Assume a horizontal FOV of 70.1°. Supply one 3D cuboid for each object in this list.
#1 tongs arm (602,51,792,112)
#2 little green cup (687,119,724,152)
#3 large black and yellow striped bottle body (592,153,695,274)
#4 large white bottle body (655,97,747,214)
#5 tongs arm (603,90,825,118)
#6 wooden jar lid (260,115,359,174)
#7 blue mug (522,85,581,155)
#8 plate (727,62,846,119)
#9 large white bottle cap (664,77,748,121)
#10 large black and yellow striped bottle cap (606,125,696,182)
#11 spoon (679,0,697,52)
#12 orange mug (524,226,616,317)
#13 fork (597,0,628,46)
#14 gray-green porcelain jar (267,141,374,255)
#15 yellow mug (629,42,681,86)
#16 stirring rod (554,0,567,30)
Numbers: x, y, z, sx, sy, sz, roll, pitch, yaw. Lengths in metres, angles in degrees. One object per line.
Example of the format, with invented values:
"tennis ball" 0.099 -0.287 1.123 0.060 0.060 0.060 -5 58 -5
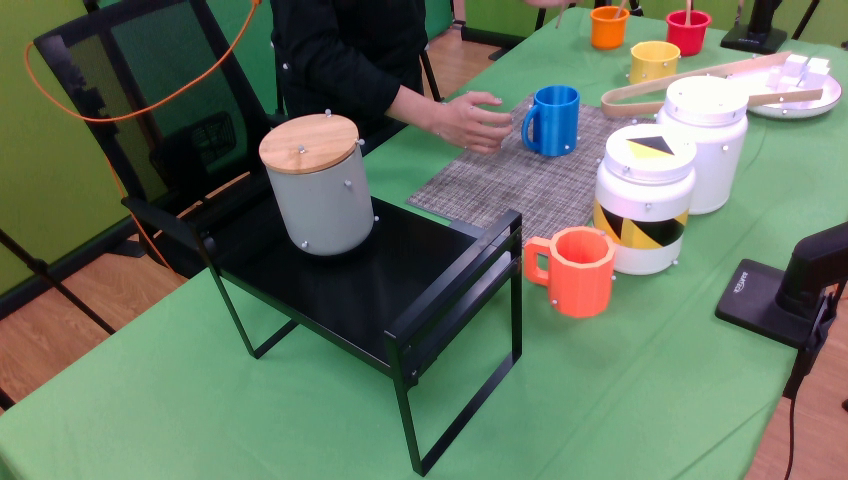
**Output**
"tongs arm" 0.552 -0.320 1.224 0.384 0.027 0.050 -10 44 7
"little green cup" 0.514 -0.191 1.109 0.061 0.039 0.061 -5 40 5
"large black and yellow striped bottle body" 0.313 -0.056 0.872 0.131 0.185 0.130 -4 41 4
"large white bottle body" 0.431 -0.148 0.959 0.130 0.185 0.130 -4 41 4
"tongs arm" 0.546 -0.262 1.163 0.386 0.028 0.028 -1 49 18
"wooden jar lid" -0.124 -0.101 0.662 0.108 0.021 0.108 -4 41 4
"blue mug" 0.233 -0.218 1.127 0.117 0.106 0.081 -23 43 -16
"plate" 0.709 -0.292 1.197 0.207 0.039 0.206 -4 40 4
"large white bottle cap" 0.421 -0.212 0.905 0.115 0.018 0.114 -4 40 4
"large black and yellow striped bottle cap" 0.305 -0.119 0.816 0.115 0.019 0.114 -5 41 5
"spoon" 0.614 -0.526 1.402 0.041 0.022 0.193 3 86 11
"orange mug" 0.201 0.039 0.845 0.125 0.101 0.083 18 46 21
"fork" 0.479 -0.559 1.455 0.028 0.019 0.207 34 99 36
"gray-green porcelain jar" -0.117 -0.054 0.703 0.106 0.127 0.105 -4 40 4
"yellow mug" 0.495 -0.389 1.322 0.100 0.064 0.130 -14 40 -6
"stirring rod" 0.258 -0.454 1.050 0.006 0.176 0.014 17 17 0
